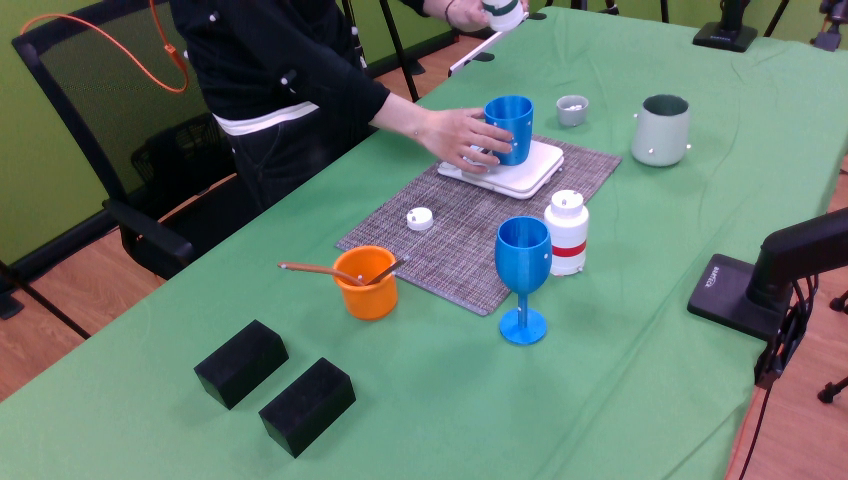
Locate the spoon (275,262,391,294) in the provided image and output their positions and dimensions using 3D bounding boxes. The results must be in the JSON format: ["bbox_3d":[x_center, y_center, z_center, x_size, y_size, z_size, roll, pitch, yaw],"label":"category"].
[{"bbox_3d":[-0.120,0.050,0.830,0.041,0.195,0.021,31,96,45],"label":"spoon"}]

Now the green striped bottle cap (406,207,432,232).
[{"bbox_3d":[-0.009,-0.035,1.011,0.044,0.020,0.044,-1,42,2],"label":"green striped bottle cap"}]

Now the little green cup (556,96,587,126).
[{"bbox_3d":[0.295,-0.258,1.214,0.061,0.039,0.061,-4,42,4],"label":"little green cup"}]

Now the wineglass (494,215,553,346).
[{"bbox_3d":[0.127,0.055,0.770,0.074,0.173,0.073,-4,40,4],"label":"wineglass"}]

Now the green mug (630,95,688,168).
[{"bbox_3d":[0.421,-0.201,1.081,0.092,0.105,0.125,5,42,15],"label":"green mug"}]

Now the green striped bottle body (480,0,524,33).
[{"bbox_3d":[0.123,-0.411,1.010,0.063,0.120,0.063,-10,60,19],"label":"green striped bottle body"}]

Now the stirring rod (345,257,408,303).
[{"bbox_3d":[-0.067,0.056,0.814,0.014,0.175,0.006,-23,81,-38],"label":"stirring rod"}]

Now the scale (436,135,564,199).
[{"bbox_3d":[0.137,-0.142,1.101,0.199,0.032,0.149,22,48,30],"label":"scale"}]

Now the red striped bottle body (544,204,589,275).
[{"bbox_3d":[0.206,-0.011,0.877,0.063,0.120,0.062,-5,41,4],"label":"red striped bottle body"}]

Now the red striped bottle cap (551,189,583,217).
[{"bbox_3d":[0.200,-0.052,0.843,0.044,0.018,0.044,-2,42,2],"label":"red striped bottle cap"}]

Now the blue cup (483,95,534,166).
[{"bbox_3d":[0.149,-0.186,1.050,0.092,0.101,0.092,-7,39,6],"label":"blue cup"}]
